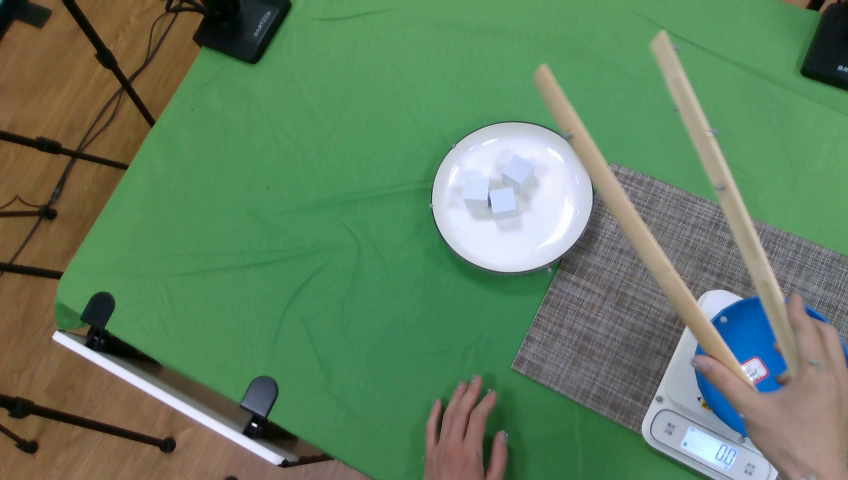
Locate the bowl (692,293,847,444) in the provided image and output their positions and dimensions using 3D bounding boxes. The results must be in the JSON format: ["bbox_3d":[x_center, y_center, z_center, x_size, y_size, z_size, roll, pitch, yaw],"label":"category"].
[{"bbox_3d":[0.354,0.136,0.642,0.151,0.077,0.150,-2,76,7],"label":"bowl"}]

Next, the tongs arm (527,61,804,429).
[{"bbox_3d":[0.202,0.002,0.536,0.028,0.028,0.386,-28,81,-25],"label":"tongs arm"}]

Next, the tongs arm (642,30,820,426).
[{"bbox_3d":[0.270,-0.023,0.560,0.051,0.026,0.382,-16,77,-20],"label":"tongs arm"}]

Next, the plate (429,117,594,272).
[{"bbox_3d":[0.112,-0.058,0.787,0.207,0.039,0.206,-2,75,8],"label":"plate"}]

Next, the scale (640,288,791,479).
[{"bbox_3d":[0.352,0.167,0.689,0.148,0.032,0.200,26,80,14],"label":"scale"}]
